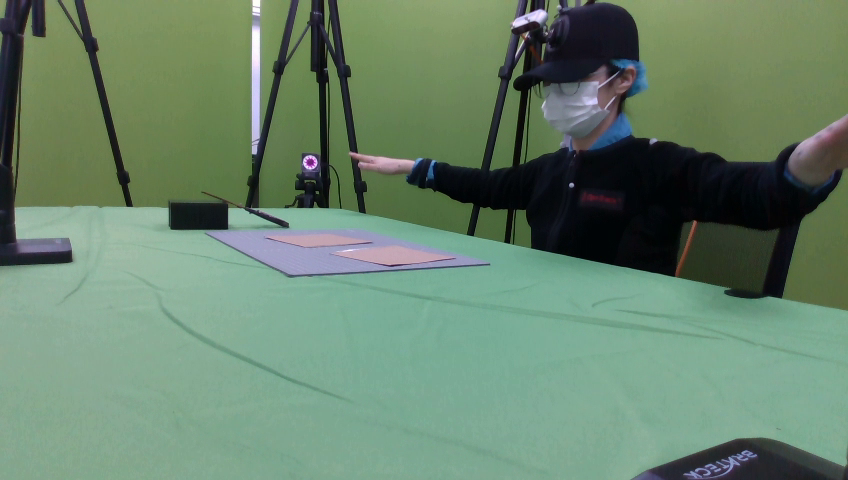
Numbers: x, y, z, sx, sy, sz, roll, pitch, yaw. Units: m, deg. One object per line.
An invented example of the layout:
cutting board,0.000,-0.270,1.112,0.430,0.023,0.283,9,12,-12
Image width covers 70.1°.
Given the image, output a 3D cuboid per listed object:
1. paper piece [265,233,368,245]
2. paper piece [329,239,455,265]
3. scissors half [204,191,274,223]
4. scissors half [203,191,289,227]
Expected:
paper piece,-0.180,-0.005,1.032,0.136,0.004,0.135,-3,9,-43
paper piece,-0.047,0.018,0.892,0.137,0.008,0.137,12,16,44
scissors half,-0.359,-0.064,1.218,0.176,0.013,0.040,25,-5,-33
scissors half,-0.351,-0.063,1.200,0.176,0.013,0.040,22,-9,-16
